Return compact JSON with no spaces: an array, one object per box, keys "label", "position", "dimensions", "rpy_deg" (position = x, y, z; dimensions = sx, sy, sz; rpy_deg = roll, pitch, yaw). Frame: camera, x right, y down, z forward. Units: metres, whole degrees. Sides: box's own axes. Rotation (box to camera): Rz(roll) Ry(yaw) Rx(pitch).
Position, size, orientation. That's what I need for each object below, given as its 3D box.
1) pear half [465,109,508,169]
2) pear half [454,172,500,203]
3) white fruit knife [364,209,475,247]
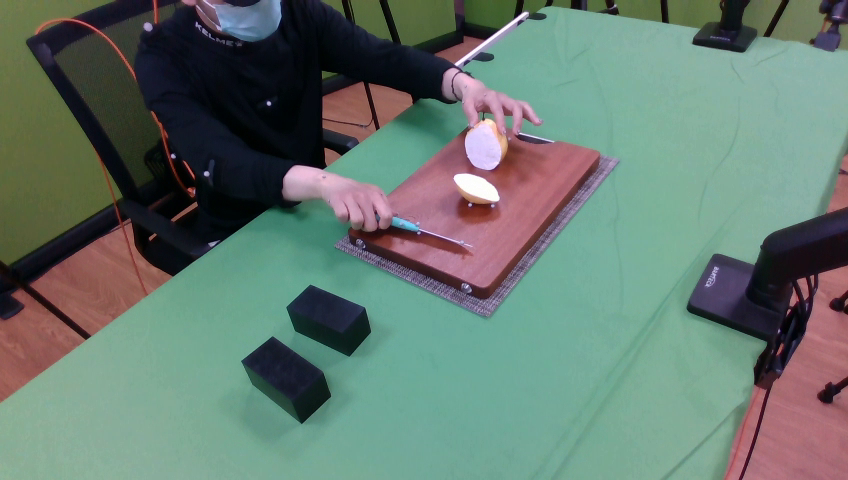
[{"label":"pear half","position":[0.112,-0.185,1.057],"dimensions":[0.076,0.110,0.056],"rpy_deg":[16,46,21]},{"label":"pear half","position":[0.086,-0.079,0.994],"dimensions":[0.071,0.031,0.087],"rpy_deg":[-22,54,-38]},{"label":"white fruit knife","position":[-0.011,-0.019,0.948],"dimensions":[0.206,0.027,0.016],"rpy_deg":[17,91,26]}]
